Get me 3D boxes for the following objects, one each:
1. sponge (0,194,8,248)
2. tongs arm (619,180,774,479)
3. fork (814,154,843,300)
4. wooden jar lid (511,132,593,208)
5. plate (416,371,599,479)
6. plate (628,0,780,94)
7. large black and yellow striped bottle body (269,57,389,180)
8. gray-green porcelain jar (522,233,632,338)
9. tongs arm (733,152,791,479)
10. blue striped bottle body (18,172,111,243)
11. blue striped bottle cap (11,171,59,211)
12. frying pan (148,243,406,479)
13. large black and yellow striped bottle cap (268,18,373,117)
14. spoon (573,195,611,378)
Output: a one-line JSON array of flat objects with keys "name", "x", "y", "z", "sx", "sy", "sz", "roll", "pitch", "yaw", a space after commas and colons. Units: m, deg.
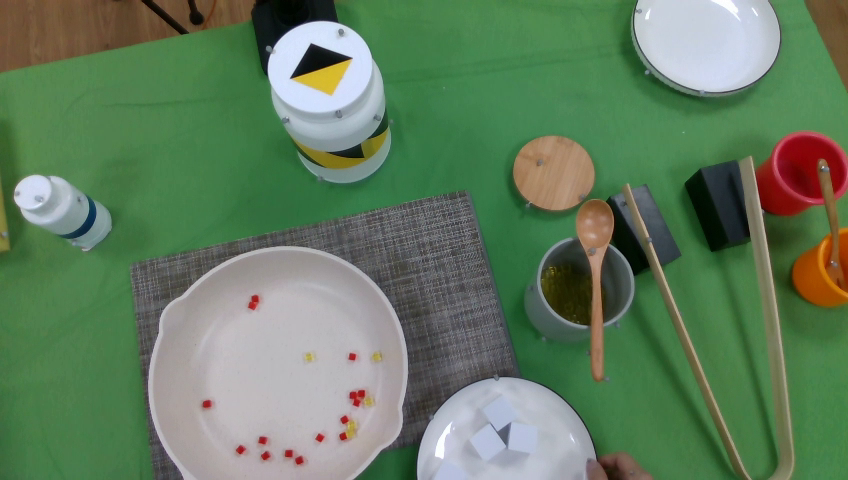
[{"name": "sponge", "x": -0.632, "y": -0.077, "z": 0.787, "sx": 0.118, "sy": 0.061, "sz": 0.205, "roll": -18, "pitch": 76, "yaw": -5}, {"name": "tongs arm", "x": 0.320, "y": 0.104, "z": 0.718, "sx": 0.051, "sy": 0.026, "sz": 0.384, "roll": -17, "pitch": 85, "yaw": -7}, {"name": "fork", "x": 0.480, "y": -0.012, "z": 0.721, "sx": 0.028, "sy": 0.018, "sz": 0.209, "roll": -26, "pitch": 120, "yaw": 1}, {"name": "wooden jar lid", "x": 0.170, "y": -0.093, "z": 0.812, "sx": 0.108, "sy": 0.021, "sz": 0.108, "roll": 0, "pitch": 76, "yaw": 0}, {"name": "plate", "x": 0.095, "y": 0.257, "z": 0.703, "sx": 0.208, "sy": 0.039, "sz": 0.206, "roll": 0, "pitch": 76, "yaw": 0}, {"name": "plate", "x": 0.391, "y": -0.297, "z": 0.858, "sx": 0.209, "sy": 0.038, "sz": 0.208, "roll": 0, "pitch": 74, "yaw": 1}, {"name": "large black and yellow striped bottle body", "x": -0.114, "y": -0.166, "z": 0.748, "sx": 0.131, "sy": 0.185, "sz": 0.130, "roll": 0, "pitch": 74, "yaw": 0}, {"name": "gray-green porcelain jar", "x": 0.173, "y": 0.059, "z": 0.714, "sx": 0.106, "sy": 0.127, "sz": 0.105, "roll": 0, "pitch": 74, "yaw": 0}, {"name": "tongs arm", "x": 0.401, "y": 0.086, "z": 0.726, "sx": 0.028, "sy": 0.028, "sz": 0.386, "roll": -3, "pitch": 84, "yaw": -9}, {"name": "blue striped bottle body", "x": -0.446, "y": -0.042, "z": 0.746, "sx": 0.063, "sy": 0.121, "sz": 0.062, "roll": 0, "pitch": 74, "yaw": 1}, {"name": "blue striped bottle cap", "x": -0.448, "y": -0.057, "z": 0.697, "sx": 0.044, "sy": 0.021, "sz": 0.044, "roll": 0, "pitch": 76, "yaw": 0}, {"name": "frying pan", "x": -0.214, "y": 0.234, "z": 0.674, "sx": 0.306, "sy": 0.103, "sz": 0.486, "roll": 27, "pitch": 68, "yaw": 8}, {"name": "large black and yellow striped bottle cap", "x": -0.114, "y": -0.191, "z": 0.668, "sx": 0.115, "sy": 0.019, "sz": 0.114, "roll": 0, "pitch": 76, "yaw": 0}, {"name": "spoon", "x": 0.180, "y": 0.048, "z": 0.645, "sx": 0.041, "sy": 0.022, "sz": 0.193, "roll": 3, "pitch": 78, "yaw": -3}]
